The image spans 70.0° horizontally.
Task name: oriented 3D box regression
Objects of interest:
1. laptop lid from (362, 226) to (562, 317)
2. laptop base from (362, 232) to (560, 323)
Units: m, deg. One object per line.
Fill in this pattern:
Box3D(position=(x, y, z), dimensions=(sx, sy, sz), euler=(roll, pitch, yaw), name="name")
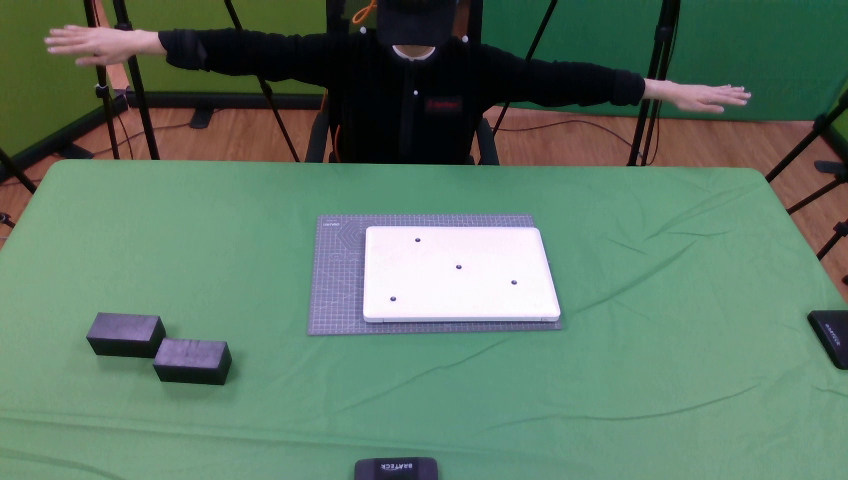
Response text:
Box3D(position=(0.064, 0.053, 1.136), dimensions=(0.357, 0.013, 0.240), euler=(1, 44, -3), name="laptop lid")
Box3D(position=(0.064, 0.063, 1.143), dimensions=(0.355, 0.023, 0.234), euler=(0, 43, -4), name="laptop base")
